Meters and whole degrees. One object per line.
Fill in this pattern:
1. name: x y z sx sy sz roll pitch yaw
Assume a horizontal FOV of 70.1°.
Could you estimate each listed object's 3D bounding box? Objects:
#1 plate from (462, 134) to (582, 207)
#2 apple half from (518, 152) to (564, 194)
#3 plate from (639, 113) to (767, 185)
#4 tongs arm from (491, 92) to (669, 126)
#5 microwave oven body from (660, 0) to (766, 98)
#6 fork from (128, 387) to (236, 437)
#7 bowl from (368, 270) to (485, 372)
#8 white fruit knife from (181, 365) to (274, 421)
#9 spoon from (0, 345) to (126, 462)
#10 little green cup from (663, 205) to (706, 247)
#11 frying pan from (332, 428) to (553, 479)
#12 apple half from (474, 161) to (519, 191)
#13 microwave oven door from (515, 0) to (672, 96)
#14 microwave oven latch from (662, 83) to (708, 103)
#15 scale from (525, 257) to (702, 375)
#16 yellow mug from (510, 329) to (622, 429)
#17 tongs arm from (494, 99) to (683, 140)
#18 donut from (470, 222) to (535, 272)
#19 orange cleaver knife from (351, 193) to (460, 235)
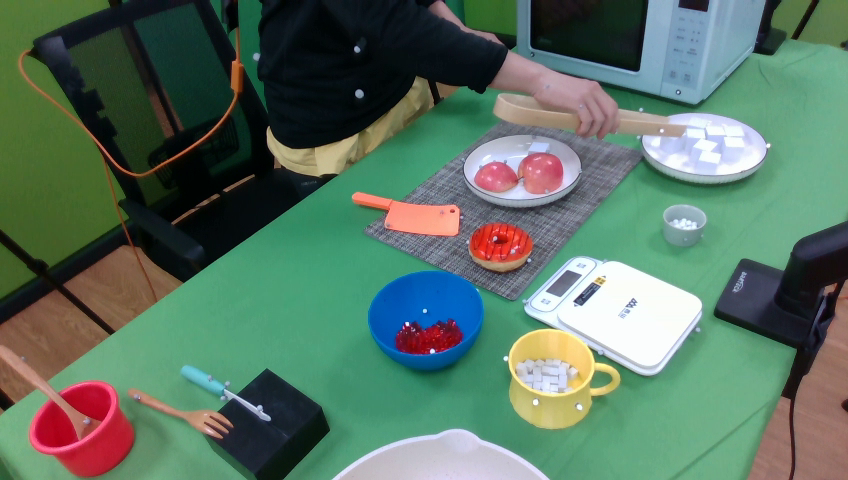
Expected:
1. plate: 0.173 -0.119 1.070 0.209 0.038 0.208 -4 40 4
2. apple half: 0.204 -0.124 1.048 0.075 0.053 0.080 -6 40 -3
3. plate: 0.489 -0.157 1.074 0.207 0.039 0.206 -4 40 4
4. tongs arm: 0.272 -0.203 0.992 0.388 0.026 0.050 3 35 -26
5. microwave oven body: 0.472 -0.513 1.317 0.438 0.261 0.327 26 51 34
6. fork: -0.305 0.207 0.744 0.206 0.019 0.028 3 41 36
7. bowl: 0.007 0.118 0.791 0.151 0.077 0.150 -4 40 4
8. white fruit knife: -0.245 0.187 0.747 0.205 0.027 0.016 9 41 40
9. spoon: -0.434 0.192 0.720 0.194 0.021 0.042 47 53 -6
10. little green cup: 0.396 -0.021 0.926 0.061 0.039 0.061 -4 40 4
11. frying pan: -0.089 0.306 0.564 0.487 0.103 0.306 10 41 7
12. apple half: 0.130 -0.119 1.067 0.081 0.033 0.081 -3 36 3
13. microwave oven door: 0.343 -0.455 1.259 0.353 0.245 0.039 26 51 33
14. microwave oven latch: 0.518 -0.296 1.204 0.078 0.029 0.030 28 52 35
15. scale: 0.254 0.091 0.821 0.199 0.032 0.149 28 51 35
16. yellow mug: 0.169 0.164 0.721 0.130 0.064 0.099 0 40 8
17. tongs arm: 0.282 -0.188 0.974 0.390 0.028 0.028 0 40 -29
18. donut: 0.119 0.009 0.923 0.099 0.048 0.098 -4 38 3
19. orange cleaver knife: -0.036 -0.044 1.029 0.210 0.012 0.077 10 48 18
